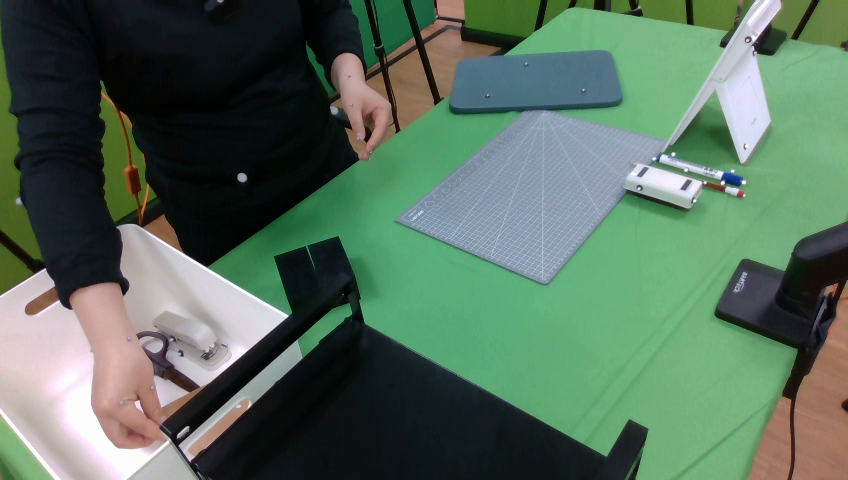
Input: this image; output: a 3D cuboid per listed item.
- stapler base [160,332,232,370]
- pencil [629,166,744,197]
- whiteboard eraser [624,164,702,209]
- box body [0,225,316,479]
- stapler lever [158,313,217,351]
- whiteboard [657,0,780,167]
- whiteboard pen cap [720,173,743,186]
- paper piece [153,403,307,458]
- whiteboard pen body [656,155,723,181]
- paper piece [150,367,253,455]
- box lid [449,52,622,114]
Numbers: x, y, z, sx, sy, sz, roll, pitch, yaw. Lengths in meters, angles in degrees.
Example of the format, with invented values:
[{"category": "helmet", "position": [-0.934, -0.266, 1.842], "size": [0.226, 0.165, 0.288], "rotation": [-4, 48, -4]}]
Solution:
[{"category": "stapler base", "position": [-0.325, 0.143, 0.853], "size": [0.129, 0.024, 0.041], "rotation": [15, 38, 34]}, {"category": "pencil", "position": [0.447, -0.103, 1.038], "size": [0.192, 0.012, 0.012], "rotation": [21, 48, 29]}, {"category": "whiteboard eraser", "position": [0.396, -0.087, 1.003], "size": [0.112, 0.042, 0.056], "rotation": [22, 48, 31]}, {"category": "box body", "position": [-0.339, 0.161, 0.728], "size": [0.361, 0.161, 0.255], "rotation": [23, 49, 31]}, {"category": "stapler lever", "position": [-0.331, 0.122, 0.839], "size": [0.117, 0.040, 0.027], "rotation": [15, 39, 34]}, {"category": "whiteboard", "position": [0.571, -0.272, 1.038], "size": [0.143, 0.306, 0.218], "rotation": [37, 54, 17]}, {"category": "whiteboard pen cap", "position": [0.519, -0.103, 1.020], "size": [0.033, 0.018, 0.018], "rotation": [23, 49, 30]}, {"category": "paper piece", "position": [-0.236, 0.227, 0.741], "size": [0.137, 0.008, 0.137], "rotation": [29, 15, 34]}, {"category": "whiteboard pen body", "position": [0.475, -0.123, 1.052], "size": [0.139, 0.017, 0.017], "rotation": [24, 50, 32]}, {"category": "paper piece", "position": [-0.235, 0.207, 0.736], "size": [0.134, 0.004, 0.136], "rotation": [20, 27, 34]}, {"category": "box lid", "position": [0.249, -0.358, 1.370], "size": [0.371, 0.015, 0.262], "rotation": [-1, 40, 9]}]
